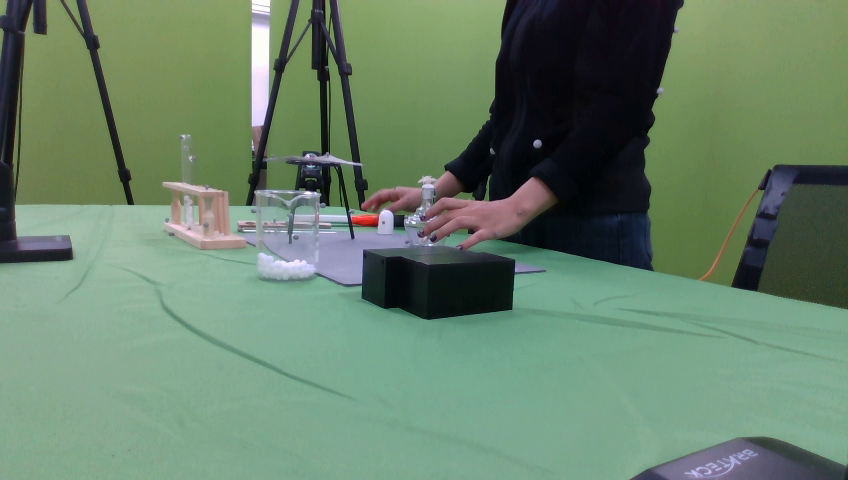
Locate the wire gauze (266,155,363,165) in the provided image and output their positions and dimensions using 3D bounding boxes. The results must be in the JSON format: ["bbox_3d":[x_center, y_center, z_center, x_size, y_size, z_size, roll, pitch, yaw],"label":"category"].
[{"bbox_3d":[-0.185,-0.136,1.016,0.126,0.011,0.121,-4,11,-33],"label":"wire gauze"}]

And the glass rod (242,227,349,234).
[{"bbox_3d":[-0.232,-0.017,1.110,0.201,0.008,0.008,2,6,-29],"label":"glass rod"}]

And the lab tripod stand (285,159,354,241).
[{"bbox_3d":[-0.187,-0.068,1.013,0.148,0.131,0.148,4,9,0],"label":"lab tripod stand"}]

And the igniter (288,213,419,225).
[{"bbox_3d":[-0.145,-0.044,1.278,0.278,0.025,0.057,-1,-3,-21],"label":"igniter"}]

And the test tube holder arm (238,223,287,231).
[{"bbox_3d":[-0.297,-0.024,1.113,0.088,0.015,0.010,-1,42,-33],"label":"test tube holder arm"}]

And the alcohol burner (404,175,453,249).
[{"bbox_3d":[0.007,-0.045,0.971,0.078,0.119,0.078,1,9,0],"label":"alcohol burner"}]

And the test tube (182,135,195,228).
[{"bbox_3d":[-0.382,-0.095,0.983,0.017,0.150,0.017,-1,2,0],"label":"test tube"}]

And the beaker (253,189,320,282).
[{"bbox_3d":[-0.156,-0.005,0.689,0.074,0.100,0.083,0,8,-14],"label":"beaker"}]

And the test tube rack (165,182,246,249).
[{"bbox_3d":[-0.360,-0.044,0.982,0.067,0.085,0.241,-3,9,-34],"label":"test tube rack"}]

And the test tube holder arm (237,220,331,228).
[{"bbox_3d":[-0.261,-0.029,1.141,0.179,0.015,0.013,-2,42,-33],"label":"test tube holder arm"}]

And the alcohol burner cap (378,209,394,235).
[{"bbox_3d":[-0.072,-0.035,1.145,0.034,0.048,0.034,2,7,0],"label":"alcohol burner cap"}]
